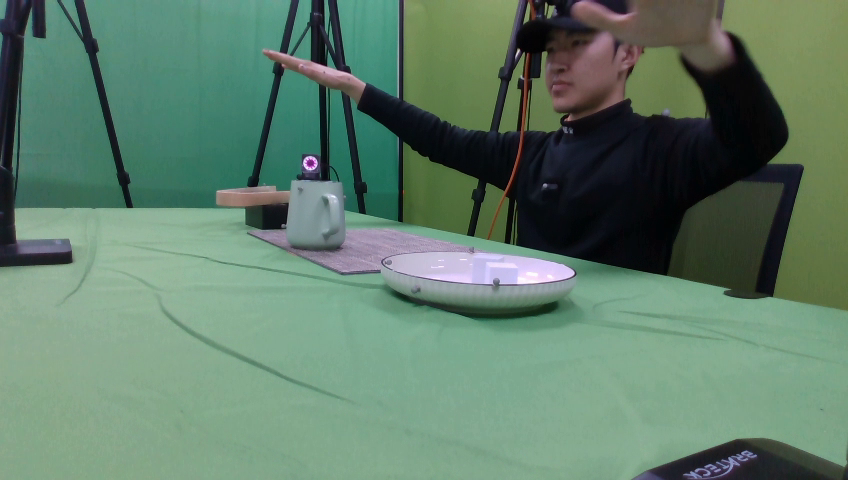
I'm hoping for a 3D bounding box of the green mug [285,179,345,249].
[{"bbox_3d":[-0.161,-0.040,0.936,0.093,0.105,0.124,-2,8,-32],"label":"green mug"}]

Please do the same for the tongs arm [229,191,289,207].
[{"bbox_3d":[-0.284,-0.093,1.283,0.028,0.028,0.388,11,9,16],"label":"tongs arm"}]

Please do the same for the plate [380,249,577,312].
[{"bbox_3d":[0.056,0.042,0.646,0.209,0.038,0.209,2,7,0],"label":"plate"}]

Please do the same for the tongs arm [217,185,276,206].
[{"bbox_3d":[-0.361,-0.098,1.295,0.051,0.026,0.385,6,7,5],"label":"tongs arm"}]
